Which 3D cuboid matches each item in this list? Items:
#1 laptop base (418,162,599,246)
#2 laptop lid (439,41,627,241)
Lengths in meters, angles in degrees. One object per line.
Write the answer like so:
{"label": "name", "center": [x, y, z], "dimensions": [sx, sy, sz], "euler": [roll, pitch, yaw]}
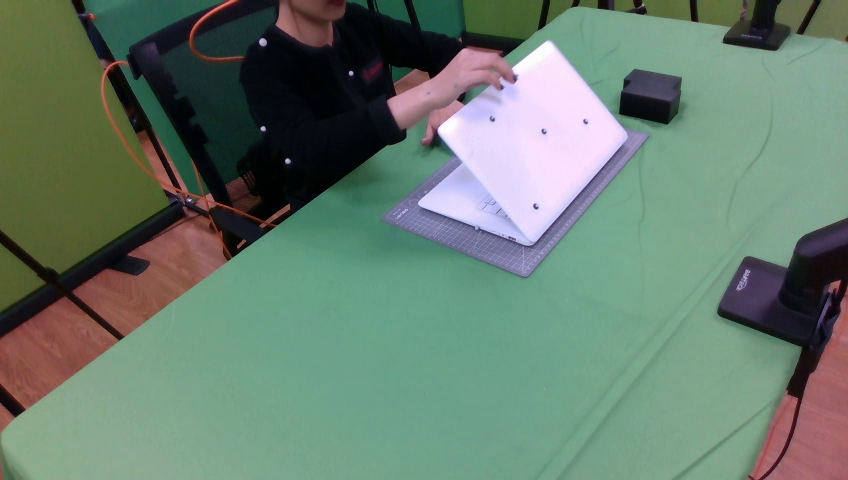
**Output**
{"label": "laptop base", "center": [0.183, -0.123, 1.094], "dimensions": [0.233, 0.023, 0.355], "euler": [19, 48, 34]}
{"label": "laptop lid", "center": [0.199, -0.181, 1.016], "dimensions": [0.242, 0.013, 0.358], "euler": [51, 56, -4]}
